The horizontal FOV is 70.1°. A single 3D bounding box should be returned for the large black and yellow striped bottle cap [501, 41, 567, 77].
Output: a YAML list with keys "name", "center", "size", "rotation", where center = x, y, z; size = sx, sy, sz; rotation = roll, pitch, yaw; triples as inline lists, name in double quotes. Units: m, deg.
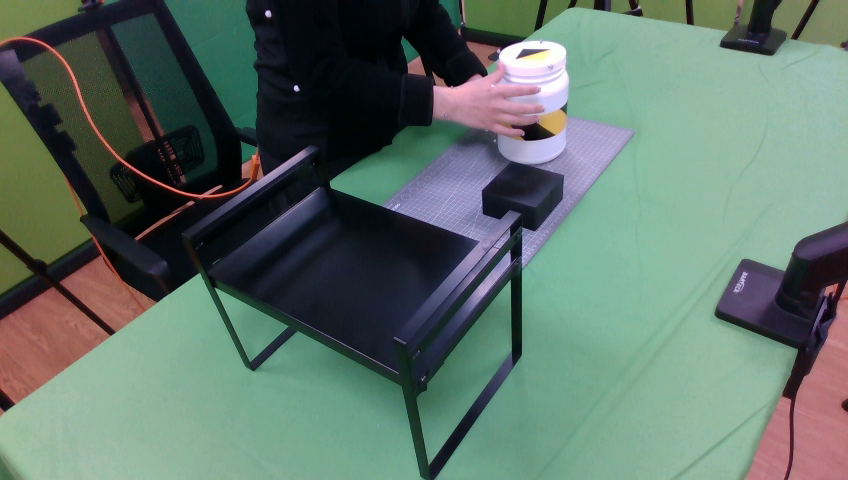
- name: "large black and yellow striped bottle cap"
  center: [0.190, -0.316, 1.051]
  size: [0.115, 0.019, 0.114]
  rotation: [-5, 39, 4]

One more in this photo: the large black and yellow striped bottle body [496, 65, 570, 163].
- name: "large black and yellow striped bottle body"
  center: [0.199, -0.249, 1.107]
  size: [0.131, 0.185, 0.130]
  rotation: [-5, 41, 5]
